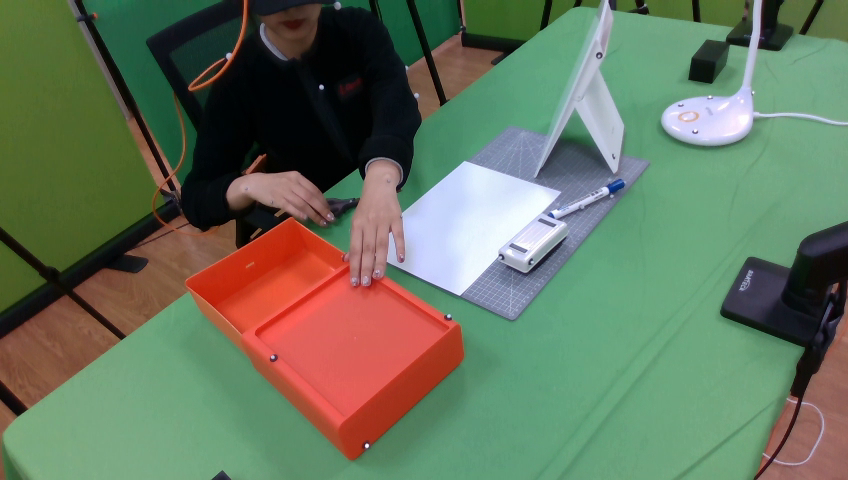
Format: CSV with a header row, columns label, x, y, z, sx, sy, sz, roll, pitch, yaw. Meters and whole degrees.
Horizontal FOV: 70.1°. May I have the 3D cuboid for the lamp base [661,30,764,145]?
label,x,y,z,sx,sy,sz,roll,pitch,yaw
lamp base,0.535,-0.287,1.095,0.179,0.181,0.159,-10,40,-4

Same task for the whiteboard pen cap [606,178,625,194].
label,x,y,z,sx,sy,sz,roll,pitch,yaw
whiteboard pen cap,0.320,-0.090,1.016,0.033,0.018,0.018,-27,43,-14

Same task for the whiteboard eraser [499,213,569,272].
label,x,y,z,sx,sy,sz,roll,pitch,yaw
whiteboard eraser,0.168,0.006,0.923,0.055,0.042,0.113,29,53,34

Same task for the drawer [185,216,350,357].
label,x,y,z,sx,sy,sz,roll,pitch,yaw
drawer,-0.209,0.074,0.892,0.195,0.073,0.210,-35,46,-29

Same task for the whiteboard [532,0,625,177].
label,x,y,z,sx,sy,sz,roll,pitch,yaw
whiteboard,0.320,-0.259,1.050,0.144,0.306,0.217,21,45,5

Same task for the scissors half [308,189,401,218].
label,x,y,z,sx,sy,sz,roll,pitch,yaw
scissors half,-0.122,-0.068,1.087,0.176,0.013,0.040,-18,26,-21

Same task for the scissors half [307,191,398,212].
label,x,y,z,sx,sy,sz,roll,pitch,yaw
scissors half,-0.127,-0.073,1.105,0.175,0.013,0.040,-12,19,-7

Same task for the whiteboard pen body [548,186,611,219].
label,x,y,z,sx,sy,sz,roll,pitch,yaw
whiteboard pen body,0.267,-0.066,1.004,0.141,0.017,0.017,-25,43,-13

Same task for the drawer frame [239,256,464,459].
label,x,y,z,sx,sy,sz,roll,pitch,yaw
drawer frame,-0.093,0.139,0.788,0.211,0.083,0.202,29,52,36
